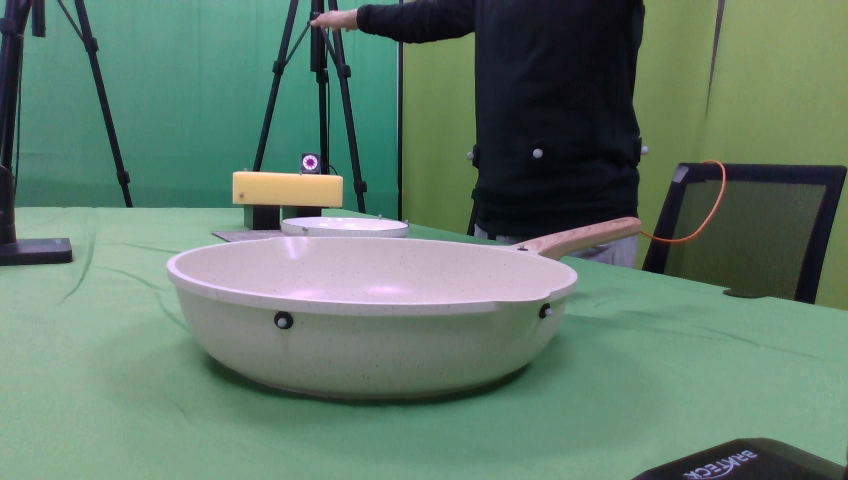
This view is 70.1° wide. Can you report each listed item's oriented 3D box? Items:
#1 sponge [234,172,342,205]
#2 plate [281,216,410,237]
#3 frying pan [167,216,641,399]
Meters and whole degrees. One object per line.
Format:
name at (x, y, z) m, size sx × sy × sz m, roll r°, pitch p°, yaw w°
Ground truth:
sponge at (-0.273, -0.105, 1.223) m, size 0.207 × 0.061 × 0.118 m, roll 0°, pitch 7°, yaw -14°
plate at (-0.126, -0.012, 0.986) m, size 0.208 × 0.039 × 0.207 m, roll 2°, pitch 7°, yaw 0°
frying pan at (0.046, 0.024, 0.519) m, size 0.490 × 0.102 × 0.305 m, roll -14°, pitch 16°, yaw -37°
